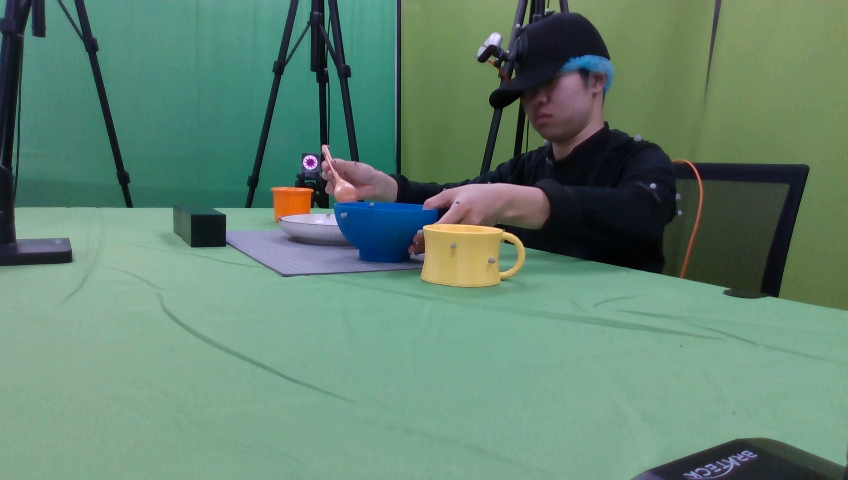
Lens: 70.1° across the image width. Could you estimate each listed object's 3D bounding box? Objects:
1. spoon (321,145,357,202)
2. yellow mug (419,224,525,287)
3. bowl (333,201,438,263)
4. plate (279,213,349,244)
[{"bbox_3d":[-0.164,-0.121,1.108,0.042,0.021,0.193,-12,40,-17],"label":"spoon"},{"bbox_3d":[0.060,0.018,0.746,0.131,0.064,0.100,3,7,-7],"label":"yellow mug"},{"bbox_3d":[-0.057,-0.011,0.866,0.151,0.077,0.151,3,8,0],"label":"bowl"},{"bbox_3d":[-0.147,-0.020,1.060,0.209,0.038,0.209,3,7,0],"label":"plate"}]
